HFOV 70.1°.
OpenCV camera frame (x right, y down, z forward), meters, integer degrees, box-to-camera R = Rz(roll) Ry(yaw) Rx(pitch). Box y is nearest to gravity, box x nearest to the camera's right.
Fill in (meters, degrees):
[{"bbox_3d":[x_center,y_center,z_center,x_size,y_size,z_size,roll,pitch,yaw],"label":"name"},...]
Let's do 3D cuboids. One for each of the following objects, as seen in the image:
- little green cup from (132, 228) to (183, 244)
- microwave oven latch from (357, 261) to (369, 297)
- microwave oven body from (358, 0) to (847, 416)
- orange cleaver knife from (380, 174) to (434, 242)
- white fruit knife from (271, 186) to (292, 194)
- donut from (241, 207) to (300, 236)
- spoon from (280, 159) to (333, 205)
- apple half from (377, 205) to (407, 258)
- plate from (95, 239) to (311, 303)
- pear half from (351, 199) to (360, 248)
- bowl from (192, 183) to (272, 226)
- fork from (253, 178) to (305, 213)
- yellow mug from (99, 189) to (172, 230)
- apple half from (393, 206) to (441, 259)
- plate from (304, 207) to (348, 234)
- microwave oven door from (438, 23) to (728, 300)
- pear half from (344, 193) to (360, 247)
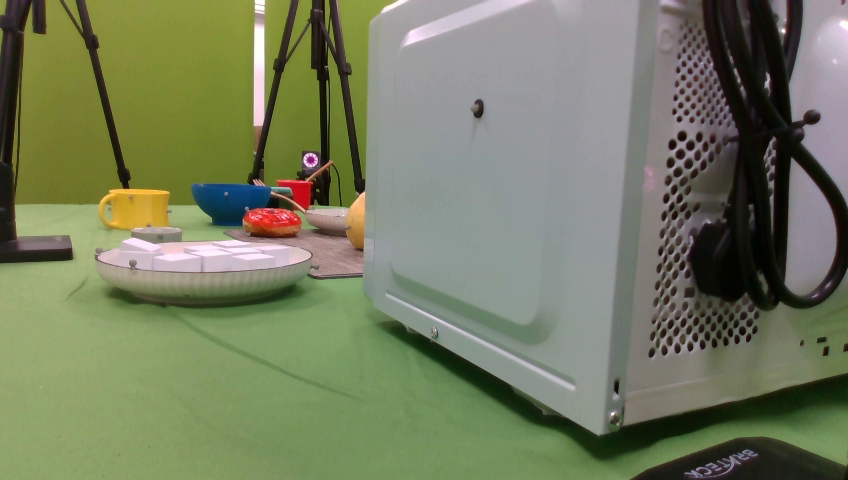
[{"bbox_3d":[-0.342,0.006,0.779,0.061,0.038,0.061,2,8,0],"label":"little green cup"},{"bbox_3d":[-0.019,0.033,0.531,0.079,0.029,0.030,-1,7,-27],"label":"microwave oven latch"},{"bbox_3d":[0.211,-0.047,0.475,0.444,0.260,0.324,-1,7,-28],"label":"microwave oven body"},{"bbox_3d":[-0.021,-0.037,0.871,0.012,0.077,0.212,5,-7,18],"label":"orange cleaver knife"},{"bbox_3d":[-0.399,-0.111,1.368,0.208,0.016,0.027,-4,-20,-29],"label":"white fruit knife"},{"bbox_3d":[-0.263,-0.031,1.039,0.099,0.048,0.099,4,10,0],"label":"donut"},{"bbox_3d":[-0.316,-0.158,1.639,0.194,0.022,0.041,-49,32,-20],"label":"spoon"},{"bbox_3d":[-0.048,-0.011,0.848,0.033,0.081,0.081,-1,6,16],"label":"apple half"},{"bbox_3d":[-0.224,0.031,0.629,0.208,0.039,0.207,2,7,0],"label":"plate"},{"bbox_3d":[-0.071,-0.040,0.914,0.056,0.110,0.076,4,12,18],"label":"pear half"},{"bbox_3d":[-0.381,-0.070,1.202,0.151,0.077,0.151,3,7,0],"label":"bowl"},{"bbox_3d":[-0.294,-0.084,1.293,0.206,0.018,0.028,29,11,26],"label":"fork"},{"bbox_3d":[-0.518,-0.055,1.080,0.099,0.064,0.131,6,9,26],"label":"yellow mug"},{"bbox_3d":[-0.004,-0.010,0.835,0.053,0.074,0.081,6,4,21],"label":"apple half"},{"bbox_3d":[-0.123,-0.037,1.149,0.209,0.038,0.209,2,7,0],"label":"plate"},{"bbox_3d":[0.181,-0.072,0.621,0.358,0.243,0.039,-2,8,-29],"label":"microwave oven door"},{"bbox_3d":[-0.104,-0.033,0.928,0.031,0.088,0.070,5,13,18],"label":"pear half"}]
